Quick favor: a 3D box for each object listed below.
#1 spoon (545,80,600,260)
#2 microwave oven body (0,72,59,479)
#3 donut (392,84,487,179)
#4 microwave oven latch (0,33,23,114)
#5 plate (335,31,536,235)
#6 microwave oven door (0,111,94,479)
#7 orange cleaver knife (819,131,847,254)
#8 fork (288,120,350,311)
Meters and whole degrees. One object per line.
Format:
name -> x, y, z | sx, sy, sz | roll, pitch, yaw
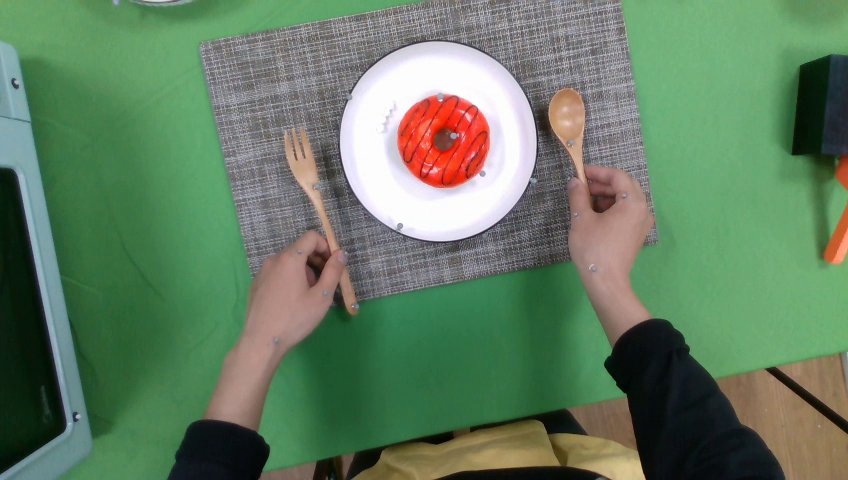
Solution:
spoon -> 0.163, -0.073, 0.644 | 0.042, 0.021, 0.193 | -12, 89, -18
microwave oven body -> -0.546, 0.037, 0.521 | 0.326, 0.259, 0.442 | -8, 96, -2
donut -> 0.016, -0.112, 0.627 | 0.099, 0.048, 0.099 | 0, 97, 0
microwave oven latch -> -0.426, -0.167, 0.602 | 0.030, 0.029, 0.079 | -7, 96, -2
plate -> 0.012, -0.110, 0.638 | 0.209, 0.038, 0.209 | 0, 96, -2
microwave oven door -> -0.395, 0.059, 0.524 | 0.039, 0.243, 0.356 | -9, 95, -1
orange cleaver knife -> 0.460, -0.084, 0.638 | 0.012, 0.076, 0.213 | 4, 124, 0
fork -> -0.108, -0.022, 0.632 | 0.018, 0.028, 0.208 | -17, 101, 4
